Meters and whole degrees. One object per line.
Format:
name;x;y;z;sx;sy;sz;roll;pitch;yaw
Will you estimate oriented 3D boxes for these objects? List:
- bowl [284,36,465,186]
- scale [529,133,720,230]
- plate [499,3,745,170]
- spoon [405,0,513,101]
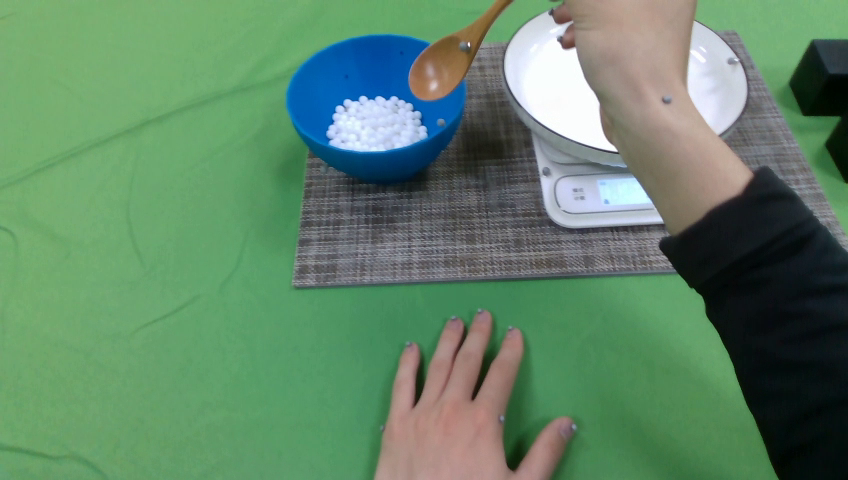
bowl;-0.040;-0.101;0.532;0.151;0.077;0.150;-1;54;2
scale;0.171;-0.097;0.549;0.149;0.032;0.199;-3;54;1
plate;0.169;-0.135;0.536;0.209;0.038;0.207;-1;54;1
spoon;0.051;-0.151;0.389;0.022;0.193;0.041;-5;71;-41
